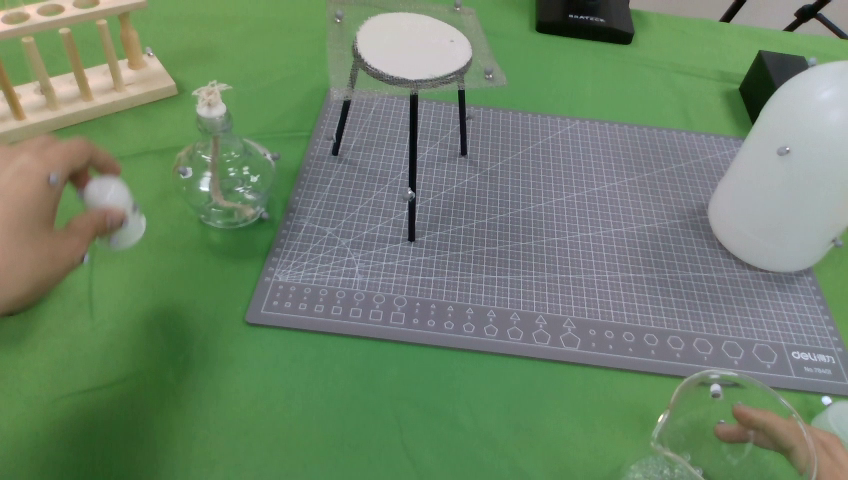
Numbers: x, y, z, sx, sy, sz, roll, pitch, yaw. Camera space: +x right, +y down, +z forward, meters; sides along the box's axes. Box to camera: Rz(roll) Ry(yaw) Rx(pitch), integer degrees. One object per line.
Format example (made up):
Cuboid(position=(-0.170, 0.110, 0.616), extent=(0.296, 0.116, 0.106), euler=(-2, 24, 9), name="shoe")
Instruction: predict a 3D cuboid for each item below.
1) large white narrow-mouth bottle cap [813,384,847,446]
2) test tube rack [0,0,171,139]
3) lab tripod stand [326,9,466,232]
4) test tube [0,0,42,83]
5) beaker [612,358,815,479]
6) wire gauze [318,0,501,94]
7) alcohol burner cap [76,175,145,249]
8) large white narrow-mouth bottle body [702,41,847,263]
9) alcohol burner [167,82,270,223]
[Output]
Cuboid(position=(0.289, 0.119, 0.413), extent=(0.038, 0.024, 0.037), euler=(3, 48, -3), name="large white narrow-mouth bottle cap")
Cuboid(position=(-0.363, -0.149, 0.531), extent=(0.242, 0.086, 0.066), euler=(-26, 56, -26), name="test tube rack")
Cuboid(position=(-0.017, -0.102, 0.493), extent=(0.148, 0.132, 0.147), euler=(4, 49, -5), name="lab tripod stand")
Cuboid(position=(-0.354, -0.201, 0.511), extent=(0.017, 0.151, 0.017), euler=(4, 44, -3), name="test tube")
Cuboid(position=(0.151, 0.124, 0.341), extent=(0.084, 0.101, 0.073), euler=(-2, 49, -7), name="beaker")
Cuboid(position=(-0.015, -0.148, 0.444), extent=(0.122, 0.011, 0.123), euler=(-3, 51, -10), name="wire gauze")
Cuboid(position=(-0.203, -0.020, 0.388), extent=(0.034, 0.048, 0.033), euler=(3, 52, -3), name="alcohol burner cap")
Cuboid(position=(0.299, -0.077, 0.466), extent=(0.102, 0.196, 0.101), euler=(3, 48, -3), name="large white narrow-mouth bottle body")
Cuboid(position=(-0.160, -0.070, 0.466), extent=(0.078, 0.120, 0.077), euler=(4, 47, -4), name="alcohol burner")
